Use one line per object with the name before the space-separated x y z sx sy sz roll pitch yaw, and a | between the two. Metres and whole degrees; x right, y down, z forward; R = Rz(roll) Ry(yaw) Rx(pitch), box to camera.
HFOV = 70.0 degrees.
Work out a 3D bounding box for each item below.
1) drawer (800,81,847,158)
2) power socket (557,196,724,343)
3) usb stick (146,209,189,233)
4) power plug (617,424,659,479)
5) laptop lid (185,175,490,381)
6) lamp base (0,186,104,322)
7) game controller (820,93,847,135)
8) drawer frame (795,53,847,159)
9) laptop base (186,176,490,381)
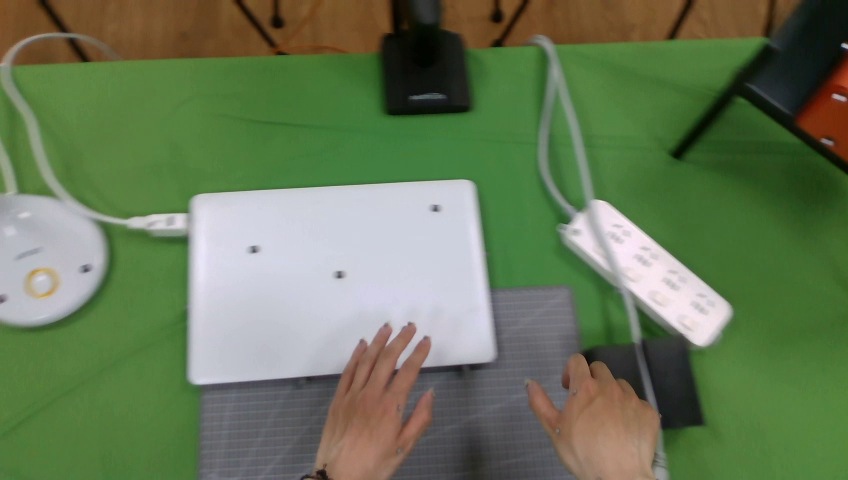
drawer | 0.524 -0.141 0.604 0.193 0.073 0.211 42 75 11
power socket | 0.268 0.035 0.750 0.226 0.033 0.072 43 75 11
usb stick | -0.304 -0.023 0.738 0.059 0.027 0.021 0 66 -6
power plug | 0.242 0.246 0.676 0.035 0.052 0.072 32 67 -11
laptop lid | -0.105 0.039 0.728 0.357 0.013 0.240 -2 74 -3
lamp base | -0.471 -0.014 0.653 0.160 0.181 0.178 -33 74 -12
game controller | 0.495 -0.107 0.606 0.097 0.052 0.154 -43 76 -11
drawer frame | 0.524 -0.144 0.603 0.201 0.083 0.213 41 75 10
laptop base | -0.106 0.040 0.740 0.355 0.023 0.234 -4 75 -4
